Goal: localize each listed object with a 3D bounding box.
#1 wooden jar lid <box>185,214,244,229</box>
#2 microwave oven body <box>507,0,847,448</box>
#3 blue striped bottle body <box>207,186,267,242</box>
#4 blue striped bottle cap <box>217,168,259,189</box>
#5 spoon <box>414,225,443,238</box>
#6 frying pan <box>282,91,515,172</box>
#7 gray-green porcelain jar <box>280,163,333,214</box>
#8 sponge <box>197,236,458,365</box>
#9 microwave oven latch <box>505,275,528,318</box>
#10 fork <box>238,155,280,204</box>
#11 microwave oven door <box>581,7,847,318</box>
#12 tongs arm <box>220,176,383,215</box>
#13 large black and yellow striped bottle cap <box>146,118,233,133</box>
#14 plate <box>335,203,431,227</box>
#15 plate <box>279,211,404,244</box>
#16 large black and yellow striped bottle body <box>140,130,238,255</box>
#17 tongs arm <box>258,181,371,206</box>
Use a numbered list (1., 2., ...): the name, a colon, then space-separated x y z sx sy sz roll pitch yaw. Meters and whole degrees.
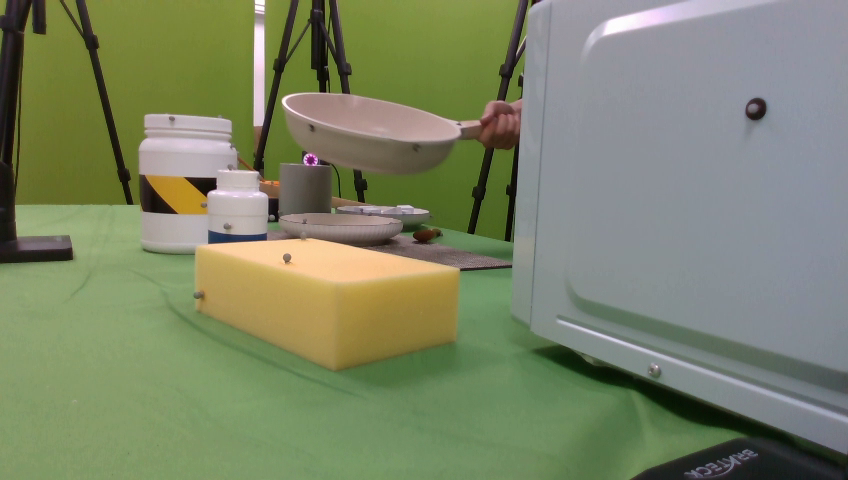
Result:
1. wooden jar lid: -0.404 -0.037 1.169 0.108 0.020 0.108 3 7 0
2. microwave oven body: 0.331 -0.042 0.425 0.444 0.260 0.324 -2 8 -31
3. blue striped bottle body: -0.204 -0.016 0.663 0.063 0.120 0.063 2 7 0
4. blue striped bottle cap: -0.202 -0.067 0.656 0.044 0.020 0.044 0 10 0
5. spoon: 0.017 -0.020 1.113 0.041 0.021 0.194 -16 3 12
6. frying pan: 0.011 -0.194 1.031 0.490 0.103 0.305 -8 28 -20
7. gray-green porcelain jar: -0.238 -0.092 1.221 0.106 0.126 0.106 2 7 0
8. sponge: -0.087 0.039 0.500 0.206 0.061 0.119 8 9 44
9. microwave oven latch: 0.100 0.041 0.472 0.079 0.029 0.030 -2 8 -30
10. fork: -0.396 -0.143 1.486 0.028 0.018 0.208 20 -26 45
11. microwave oven door: 0.295 -0.067 0.570 0.358 0.243 0.039 -3 8 -31
12. tongs arm: -0.284 -0.104 1.445 0.389 0.027 0.028 9 -4 -23
13. large black and yellow striped bottle cap: -0.333 -0.163 0.861 0.115 0.019 0.115 1 9 0
14. plate: -0.089 -0.053 1.309 0.208 0.039 0.207 1 8 0
15. plate: -0.139 -0.022 1.021 0.209 0.038 0.209 2 8 0
16. large black and yellow striped bottle body: -0.336 -0.078 0.872 0.131 0.184 0.130 2 8 0
17. tongs arm: -0.241 -0.095 1.373 0.387 0.026 0.050 9 0 -37
